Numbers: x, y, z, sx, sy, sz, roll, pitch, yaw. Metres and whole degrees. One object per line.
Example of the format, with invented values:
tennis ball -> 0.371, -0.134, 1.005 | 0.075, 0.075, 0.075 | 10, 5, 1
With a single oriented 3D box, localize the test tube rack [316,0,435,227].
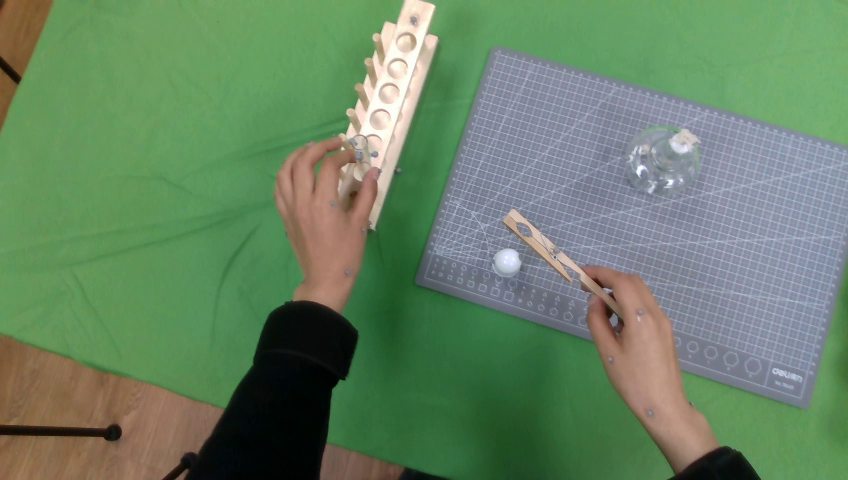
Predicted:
test tube rack -> -0.058, -0.144, 0.675 | 0.066, 0.085, 0.242 | 18, 84, 5

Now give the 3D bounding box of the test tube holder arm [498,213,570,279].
test tube holder arm -> 0.106, 0.005, 0.572 | 0.088, 0.015, 0.010 | 40, 97, -1

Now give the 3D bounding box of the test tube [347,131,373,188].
test tube -> -0.064, -0.078, 0.618 | 0.017, 0.150, 0.017 | 0, 80, -2

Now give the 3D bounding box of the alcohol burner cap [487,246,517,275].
alcohol burner cap -> 0.088, 0.021, 0.669 | 0.034, 0.048, 0.034 | 0, 84, 2

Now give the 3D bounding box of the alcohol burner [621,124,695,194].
alcohol burner -> 0.251, -0.090, 0.640 | 0.078, 0.119, 0.077 | -1, 83, 5

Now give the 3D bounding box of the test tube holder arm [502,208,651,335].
test tube holder arm -> 0.144, 0.030, 0.572 | 0.178, 0.015, 0.013 | 39, 97, -1
